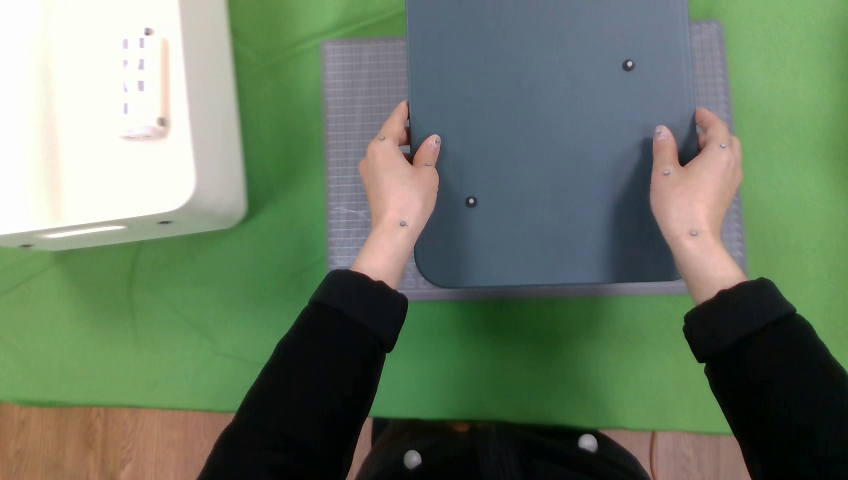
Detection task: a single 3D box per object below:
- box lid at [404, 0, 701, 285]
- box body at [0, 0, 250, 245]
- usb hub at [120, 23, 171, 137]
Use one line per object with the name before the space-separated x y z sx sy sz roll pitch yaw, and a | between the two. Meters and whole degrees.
box lid | 0.114 -0.143 0.556 0.263 0.015 0.371 -2 87 0
box body | -0.332 -0.183 0.623 0.254 0.161 0.363 -7 83 2
usb hub | -0.314 -0.181 0.684 0.049 0.025 0.125 -2 85 1
